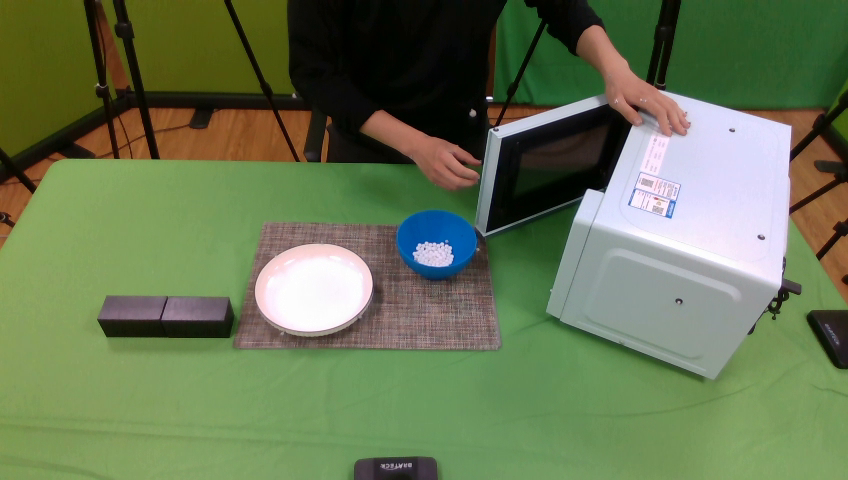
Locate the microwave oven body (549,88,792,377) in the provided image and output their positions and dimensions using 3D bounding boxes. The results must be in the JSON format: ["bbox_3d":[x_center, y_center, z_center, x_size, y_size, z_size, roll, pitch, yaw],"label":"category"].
[{"bbox_3d":[0.456,-0.028,1.088,0.325,0.261,0.440,20,47,16],"label":"microwave oven body"}]

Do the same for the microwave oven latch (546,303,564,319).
[{"bbox_3d":[0.242,0.102,1.081,0.030,0.029,0.079,22,48,17],"label":"microwave oven latch"}]

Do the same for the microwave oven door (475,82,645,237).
[{"bbox_3d":[0.268,-0.159,1.193,0.356,0.245,0.039,-21,50,-22],"label":"microwave oven door"}]

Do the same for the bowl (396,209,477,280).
[{"bbox_3d":[0.021,0.021,1.134,0.151,0.077,0.150,2,46,-2],"label":"bowl"}]

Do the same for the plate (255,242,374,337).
[{"bbox_3d":[-0.192,0.090,1.079,0.208,0.039,0.206,2,46,-2],"label":"plate"}]
